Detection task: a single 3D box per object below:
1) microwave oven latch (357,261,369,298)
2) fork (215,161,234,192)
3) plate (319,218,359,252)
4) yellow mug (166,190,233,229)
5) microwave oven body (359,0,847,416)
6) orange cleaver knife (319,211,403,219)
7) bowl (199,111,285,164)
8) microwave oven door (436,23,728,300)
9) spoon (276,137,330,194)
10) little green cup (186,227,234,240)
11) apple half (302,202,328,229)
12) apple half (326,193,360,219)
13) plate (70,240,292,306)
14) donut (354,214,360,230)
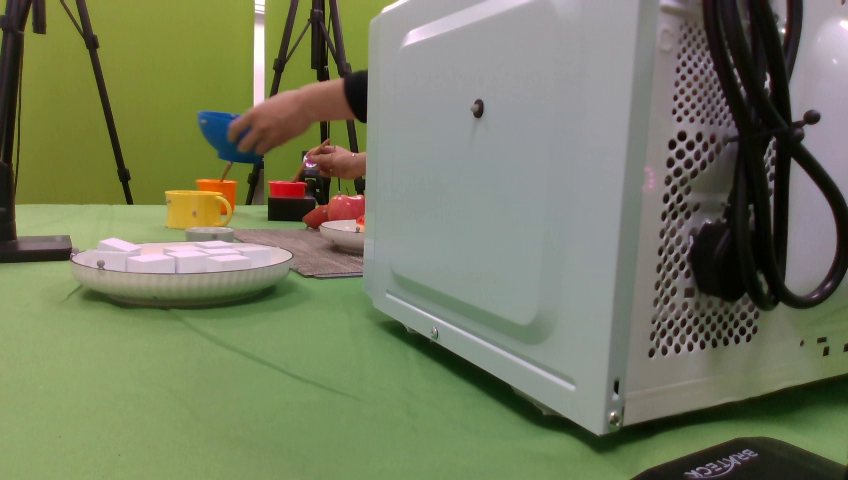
[{"bbox_3d":[-0.019,0.033,0.530,0.079,0.029,0.030,-1,7,-26],"label":"microwave oven latch"},{"bbox_3d":[-0.455,-0.132,1.367,0.028,0.018,0.207,-2,-35,-37],"label":"fork"},{"bbox_3d":[-0.059,-0.007,0.939,0.209,0.038,0.209,3,8,0],"label":"plate"},{"bbox_3d":[-0.415,-0.057,1.131,0.130,0.064,0.100,6,8,16],"label":"yellow mug"},{"bbox_3d":[0.211,-0.047,0.474,0.444,0.260,0.324,-1,7,-28],"label":"microwave oven body"},{"bbox_3d":[-0.142,-0.056,1.394,0.077,0.012,0.212,3,7,44],"label":"orange cleaver knife"},{"bbox_3d":[-0.336,-0.186,1.113,0.151,0.077,0.151,9,14,-2],"label":"bowl"},{"bbox_3d":[0.180,-0.073,0.621,0.358,0.243,0.039,-2,9,-29],"label":"microwave oven door"},{"bbox_3d":[-0.301,-0.186,1.508,0.021,0.193,0.042,39,1,10],"label":"spoon"},{"bbox_3d":[-0.285,0.005,0.805,0.061,0.038,0.061,2,8,0],"label":"little green cup"},{"bbox_3d":[-0.194,-0.043,1.173,0.081,0.032,0.081,-21,-15,-6],"label":"apple half"},{"bbox_3d":[-0.135,-0.047,1.090,0.081,0.074,0.053,5,10,-13],"label":"apple half"},{"bbox_3d":[-0.242,0.032,0.618,0.208,0.039,0.207,3,8,0],"label":"plate"},{"bbox_3d":[-0.062,-0.020,0.956,0.099,0.048,0.099,4,7,0],"label":"donut"}]
